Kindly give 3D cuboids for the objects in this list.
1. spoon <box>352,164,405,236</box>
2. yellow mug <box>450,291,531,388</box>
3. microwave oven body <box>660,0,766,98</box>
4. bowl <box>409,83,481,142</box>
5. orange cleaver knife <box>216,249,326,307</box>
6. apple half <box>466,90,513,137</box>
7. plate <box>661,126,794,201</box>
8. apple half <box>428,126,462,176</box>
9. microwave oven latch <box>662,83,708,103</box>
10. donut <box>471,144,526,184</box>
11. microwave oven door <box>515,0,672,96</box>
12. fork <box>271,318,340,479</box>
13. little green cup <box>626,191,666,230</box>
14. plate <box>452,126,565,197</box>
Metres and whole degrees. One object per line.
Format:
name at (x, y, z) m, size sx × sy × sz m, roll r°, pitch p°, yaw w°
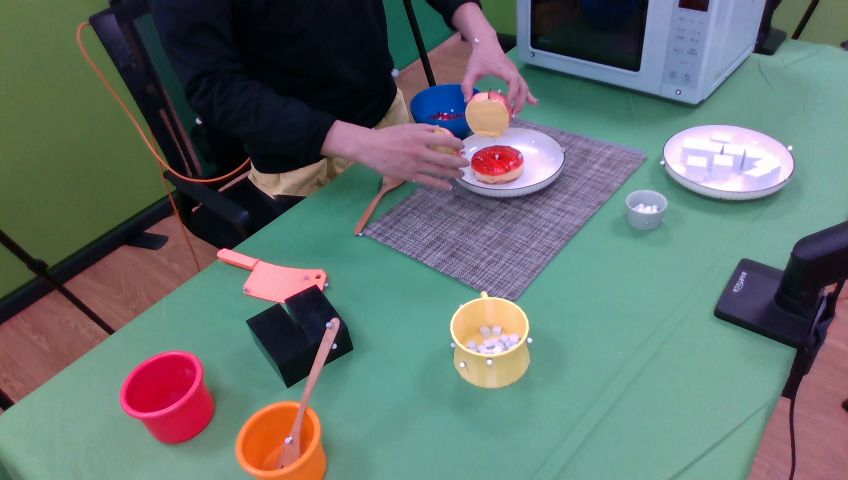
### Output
spoon at (-0.083, -0.074, 1.075) m, size 0.041 × 0.022 × 0.194 m, roll 21°, pitch 45°, yaw 10°
yellow mug at (0.085, 0.120, 0.786) m, size 0.100 × 0.064 × 0.130 m, roll -7°, pitch 39°, yaw 1°
microwave oven body at (0.472, -0.513, 1.317) m, size 0.438 × 0.261 × 0.327 m, roll 26°, pitch 51°, yaw 34°
bowl at (0.048, -0.245, 1.213) m, size 0.151 × 0.077 × 0.150 m, roll -4°, pitch 40°, yaw 4°
orange cleaver knife at (-0.248, 0.058, 0.945) m, size 0.210 × 0.012 × 0.077 m, roll 13°, pitch 50°, yaw 19°
apple half at (0.117, -0.222, 1.043) m, size 0.080 × 0.075 × 0.053 m, roll 3°, pitch 40°, yaw 26°
plate at (0.513, -0.128, 1.035) m, size 0.207 × 0.039 × 0.206 m, roll -4°, pitch 40°, yaw 4°
apple half at (0.040, -0.145, 0.963) m, size 0.033 × 0.081 × 0.080 m, roll -19°, pitch 40°, yaw -29°
microwave oven latch at (0.518, -0.297, 1.204) m, size 0.078 × 0.029 × 0.030 m, roll 28°, pitch 52°, yaw 35°
donut at (0.133, -0.138, 1.083) m, size 0.099 × 0.048 × 0.098 m, roll -5°, pitch 38°, yaw 5°
microwave oven door at (0.343, -0.454, 1.259) m, size 0.353 × 0.245 × 0.039 m, roll 26°, pitch 51°, yaw 33°
fork at (-0.132, 0.186, 0.676) m, size 0.028 × 0.019 × 0.207 m, roll 18°, pitch 90°, yaw 28°
little green cup at (0.352, -0.046, 0.963) m, size 0.061 × 0.039 × 0.061 m, roll -4°, pitch 40°, yaw 4°
plate at (0.149, -0.138, 1.097) m, size 0.209 × 0.038 × 0.208 m, roll -4°, pitch 40°, yaw 4°
